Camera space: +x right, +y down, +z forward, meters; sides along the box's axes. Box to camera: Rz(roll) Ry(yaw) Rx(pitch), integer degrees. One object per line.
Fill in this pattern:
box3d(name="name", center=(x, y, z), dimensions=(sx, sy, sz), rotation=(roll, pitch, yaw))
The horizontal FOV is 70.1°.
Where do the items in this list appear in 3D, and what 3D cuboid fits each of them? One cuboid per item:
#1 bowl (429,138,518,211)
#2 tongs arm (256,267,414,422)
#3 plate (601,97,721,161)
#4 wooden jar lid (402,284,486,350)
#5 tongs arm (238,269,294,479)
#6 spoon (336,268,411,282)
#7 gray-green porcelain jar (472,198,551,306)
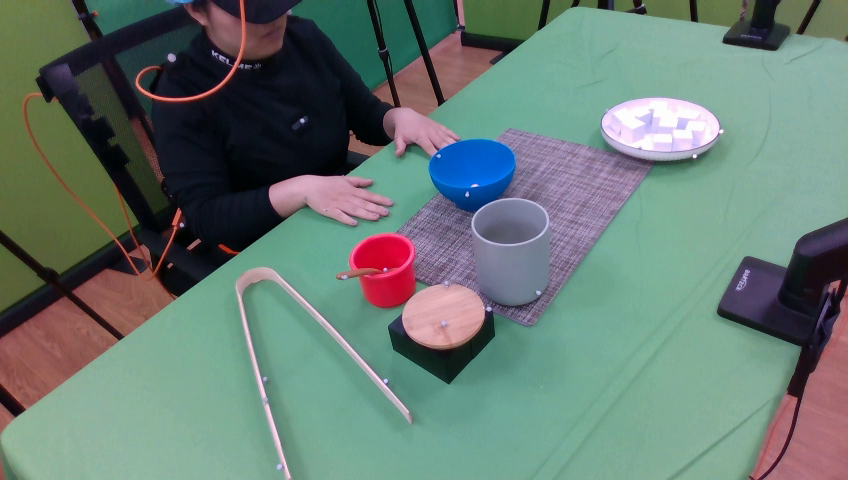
box3d(name="bowl", center=(0.087, -0.104, 1.043), dimensions=(0.151, 0.077, 0.150), rotation=(-5, 40, 5))
box3d(name="tongs arm", center=(-0.137, 0.132, 0.853), dimensions=(0.028, 0.028, 0.384), rotation=(-34, 45, -23))
box3d(name="plate", center=(0.436, -0.203, 1.126), dimensions=(0.209, 0.038, 0.208), rotation=(-5, 39, 5))
box3d(name="wooden jar lid", center=(0.026, 0.101, 0.786), dimensions=(0.108, 0.021, 0.108), rotation=(-5, 39, 4))
box3d(name="tongs arm", center=(-0.208, 0.163, 0.824), dimensions=(0.051, 0.026, 0.381), rotation=(-22, 40, -15))
box3d(name="spoon", center=(-0.071, 0.047, 0.850), dimensions=(0.041, 0.195, 0.021), rotation=(18, 93, 24))
box3d(name="gray-green porcelain jar", center=(0.125, 0.021, 0.850), dimensions=(0.106, 0.127, 0.105), rotation=(-6, 40, 5))
